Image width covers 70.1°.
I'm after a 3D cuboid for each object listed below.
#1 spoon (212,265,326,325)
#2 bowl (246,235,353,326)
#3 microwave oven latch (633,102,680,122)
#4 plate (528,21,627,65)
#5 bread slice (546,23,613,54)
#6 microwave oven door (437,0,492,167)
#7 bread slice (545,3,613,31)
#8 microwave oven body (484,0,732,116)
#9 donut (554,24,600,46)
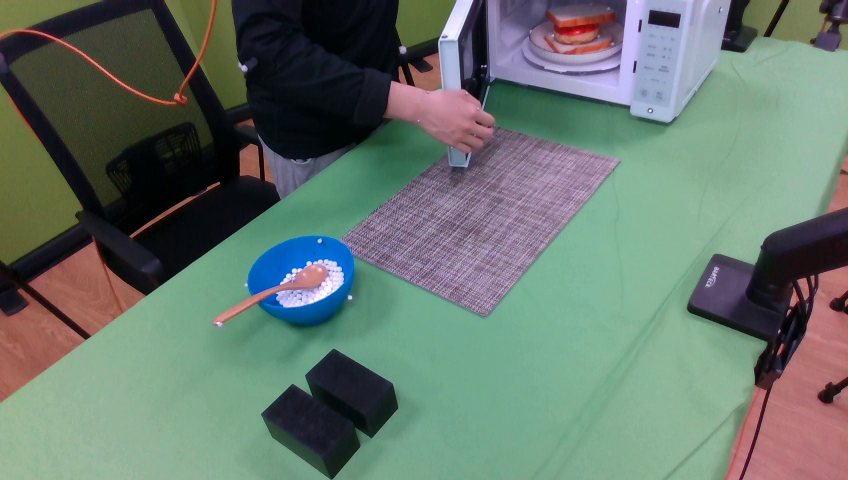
[{"bbox_3d":[-0.208,0.072,0.822,0.041,0.021,0.195,27,29,27],"label":"spoon"},{"bbox_3d":[-0.170,0.070,0.868,0.151,0.077,0.150,-4,41,4],"label":"bowl"},{"bbox_3d":[0.444,-0.249,1.158,0.078,0.029,0.030,21,49,30],"label":"microwave oven latch"},{"bbox_3d":[0.332,-0.431,1.318,0.207,0.039,0.206,-4,41,4],"label":"plate"},{"bbox_3d":[0.339,-0.442,1.314,0.135,0.018,0.106,-8,52,-9],"label":"bread slice"},{"bbox_3d":[0.085,-0.340,1.158,0.039,0.245,0.355,3,41,13],"label":"microwave oven door"},{"bbox_3d":[0.331,-0.476,1.282,0.131,0.019,0.104,-9,37,1],"label":"bread slice"},{"bbox_3d":[0.377,-0.463,1.267,0.438,0.261,0.327,21,49,30],"label":"microwave oven body"},{"bbox_3d":[0.328,-0.450,1.296,0.099,0.048,0.098,-5,43,5],"label":"donut"}]
